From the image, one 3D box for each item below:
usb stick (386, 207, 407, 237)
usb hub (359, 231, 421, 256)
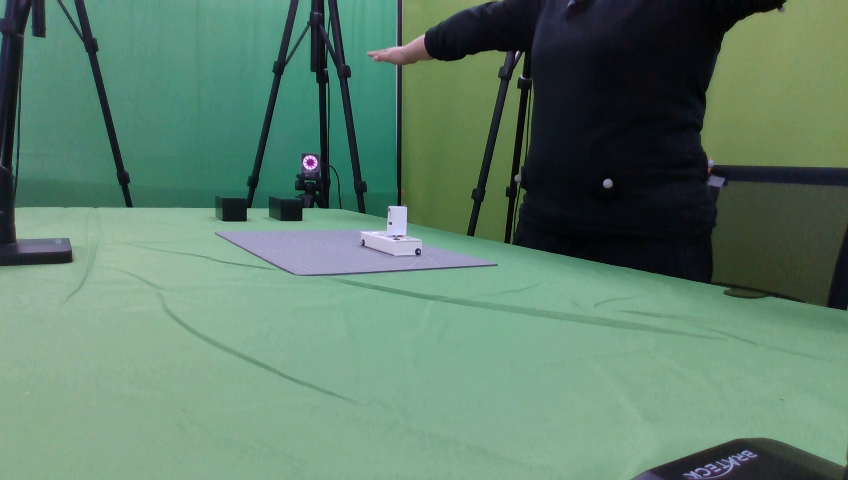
[{"bbox_3d":[-0.043,-0.022,0.937,0.027,0.059,0.021,-5,10,-34],"label":"usb stick"},{"bbox_3d":[-0.056,0.004,0.954,0.050,0.025,0.124,-2,8,-31],"label":"usb hub"}]
